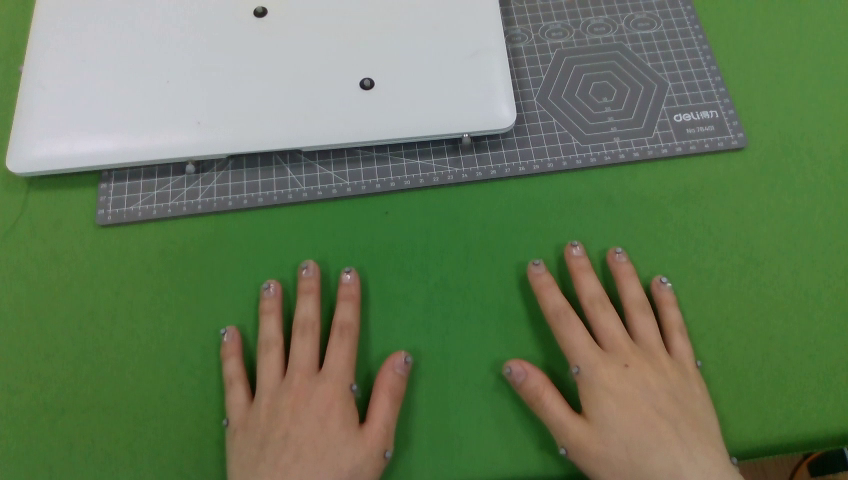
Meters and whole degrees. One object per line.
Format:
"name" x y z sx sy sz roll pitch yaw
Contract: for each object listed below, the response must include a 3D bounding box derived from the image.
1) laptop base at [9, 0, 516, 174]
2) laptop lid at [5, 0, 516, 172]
"laptop base" -0.120 -0.166 0.464 0.354 0.023 0.234 -5 70 -1
"laptop lid" -0.120 -0.169 0.452 0.357 0.013 0.240 -4 69 0
